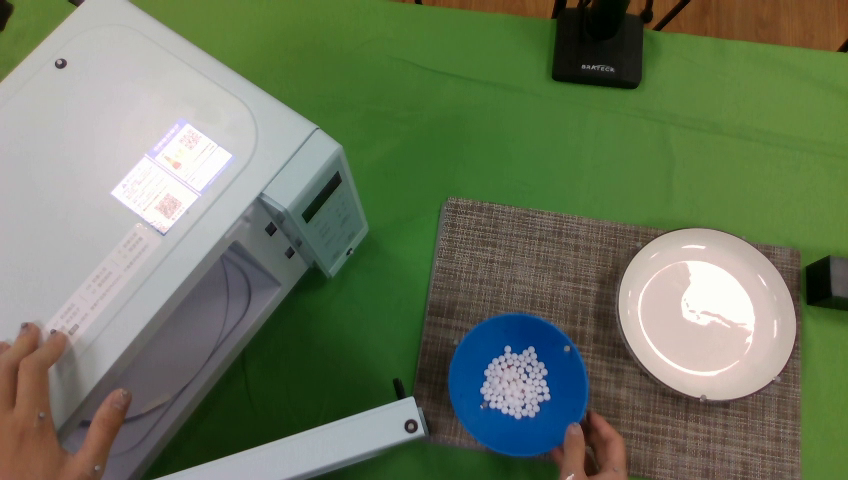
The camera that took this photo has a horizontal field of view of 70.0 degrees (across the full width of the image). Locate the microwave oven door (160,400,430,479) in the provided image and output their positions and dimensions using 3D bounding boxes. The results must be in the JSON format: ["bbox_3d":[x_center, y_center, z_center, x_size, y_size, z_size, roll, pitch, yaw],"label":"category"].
[{"bbox_3d":[-0.170,0.217,0.568,0.356,0.245,0.039,-17,73,-4],"label":"microwave oven door"}]

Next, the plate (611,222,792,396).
[{"bbox_3d":[0.325,0.082,0.723,0.208,0.039,0.206,0,73,1],"label":"plate"}]

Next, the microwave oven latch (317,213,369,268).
[{"bbox_3d":[-0.100,-0.005,0.740,0.030,0.029,0.079,36,78,10],"label":"microwave oven latch"}]

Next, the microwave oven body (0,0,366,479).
[{"bbox_3d":[-0.326,0.022,0.633,0.325,0.261,0.441,34,77,10],"label":"microwave oven body"}]

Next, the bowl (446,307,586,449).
[{"bbox_3d":[0.099,0.157,0.683,0.151,0.077,0.150,0,74,1],"label":"bowl"}]
